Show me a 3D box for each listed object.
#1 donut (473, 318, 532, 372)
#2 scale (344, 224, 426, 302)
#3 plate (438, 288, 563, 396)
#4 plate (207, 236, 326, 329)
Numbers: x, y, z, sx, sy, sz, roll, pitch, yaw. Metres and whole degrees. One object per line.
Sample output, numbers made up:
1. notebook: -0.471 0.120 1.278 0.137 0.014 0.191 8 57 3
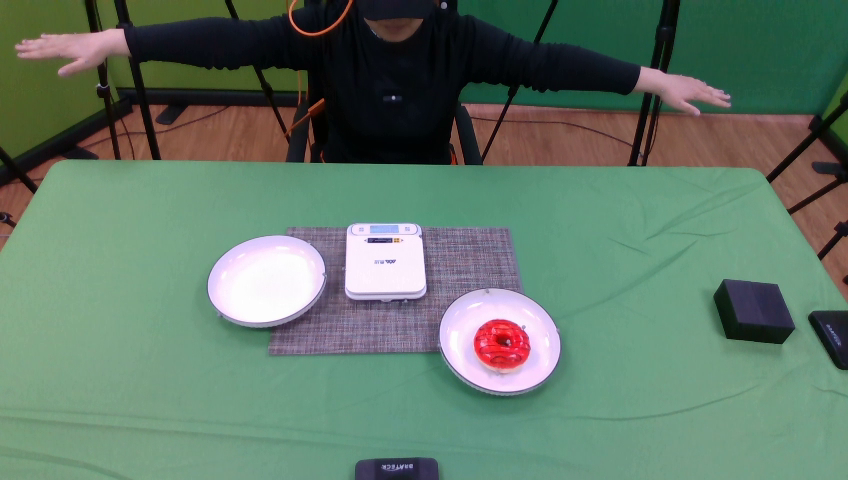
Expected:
1. donut: 0.131 0.174 1.010 0.099 0.048 0.098 1 48 -1
2. scale: -0.075 0.033 1.149 0.149 0.032 0.199 0 45 -5
3. plate: 0.127 0.173 1.025 0.209 0.038 0.208 3 48 -3
4. plate: -0.278 0.078 1.088 0.208 0.039 0.206 1 46 0
